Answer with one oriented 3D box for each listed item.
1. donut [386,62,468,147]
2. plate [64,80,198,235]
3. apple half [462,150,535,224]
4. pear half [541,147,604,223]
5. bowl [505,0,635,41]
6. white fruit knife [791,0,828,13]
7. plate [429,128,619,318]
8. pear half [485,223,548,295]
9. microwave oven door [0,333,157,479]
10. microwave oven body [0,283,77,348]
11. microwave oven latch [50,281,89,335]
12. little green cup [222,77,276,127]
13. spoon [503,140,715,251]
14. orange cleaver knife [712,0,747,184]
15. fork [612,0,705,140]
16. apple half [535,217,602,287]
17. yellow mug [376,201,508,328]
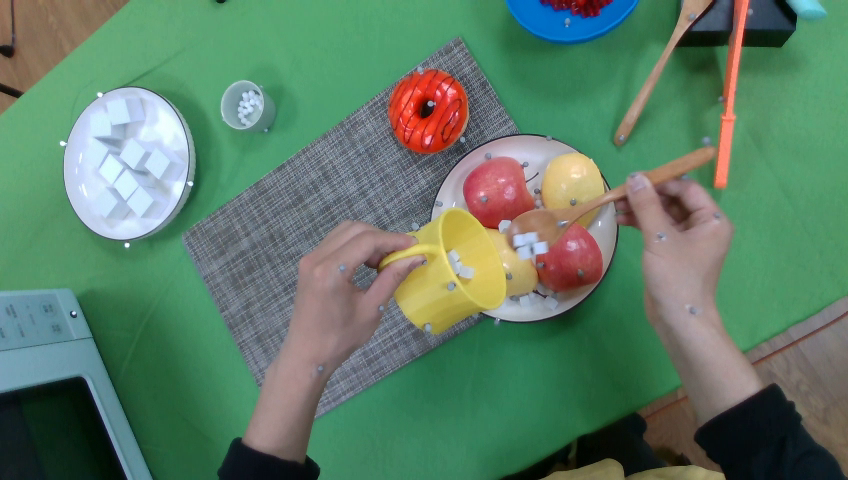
[{"bbox_3d":[0.003,-0.157,0.703,0.098,0.048,0.099,0,92,18],"label":"donut"},{"bbox_3d":[-0.392,-0.110,0.824,0.207,0.039,0.207,0,90,16],"label":"plate"},{"bbox_3d":[0.079,-0.058,0.665,0.074,0.053,0.080,-14,88,16],"label":"apple half"},{"bbox_3d":[0.153,-0.054,0.647,0.070,0.031,0.088,1,100,42],"label":"pear half"},{"bbox_3d":[0.159,-0.279,0.646,0.151,0.077,0.151,0,90,16],"label":"bowl"},{"bbox_3d":[0.317,-0.301,0.582,0.027,0.016,0.206,-26,79,-15],"label":"white fruit knife"},{"bbox_3d":[0.109,-0.019,0.675,0.208,0.038,0.209,0,89,16],"label":"plate"},{"bbox_3d":[0.090,0.029,0.666,0.109,0.056,0.076,32,102,9],"label":"pear half"},{"bbox_3d":[-0.422,0.287,0.704,0.039,0.245,0.354,-30,81,13],"label":"microwave oven door"},{"bbox_3d":[-0.563,0.320,0.750,0.326,0.261,0.440,-30,82,13],"label":"microwave oven body"},{"bbox_3d":[-0.492,0.095,0.831,0.030,0.029,0.079,-27,83,13],"label":"microwave oven latch"},{"bbox_3d":[-0.222,-0.174,0.775,0.061,0.039,0.061,0,89,17],"label":"little green cup"},{"bbox_3d":[0.151,-0.037,0.519,0.193,0.022,0.041,-27,73,36],"label":"spoon"},{"bbox_3d":[0.304,-0.163,0.601,0.012,0.077,0.213,6,117,21],"label":"orange cleaver knife"},{"bbox_3d":[0.245,-0.194,0.616,0.028,0.018,0.208,27,117,7],"label":"fork"},{"bbox_3d":[0.146,0.015,0.647,0.081,0.033,0.081,6,101,37],"label":"apple half"},{"bbox_3d":[0.012,0.020,0.537,0.064,0.132,0.099,-29,65,31],"label":"yellow mug"}]
